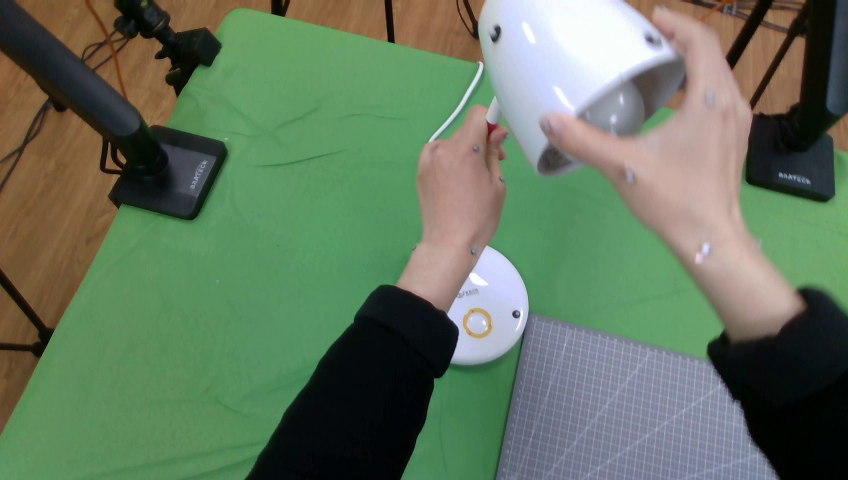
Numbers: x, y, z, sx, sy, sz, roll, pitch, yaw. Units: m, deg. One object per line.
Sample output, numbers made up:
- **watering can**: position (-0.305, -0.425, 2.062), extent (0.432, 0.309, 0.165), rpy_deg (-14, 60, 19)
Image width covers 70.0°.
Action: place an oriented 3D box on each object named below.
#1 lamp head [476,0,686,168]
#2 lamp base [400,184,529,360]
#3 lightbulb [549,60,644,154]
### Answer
- **lamp head**: position (0.087, -0.123, 0.400), extent (0.112, 0.113, 0.122), rpy_deg (-27, 64, -14)
- **lamp base**: position (0.048, 0.029, 0.687), extent (0.161, 0.181, 0.177), rpy_deg (-25, 67, -14)
- **lightbulb**: position (0.096, -0.104, 0.385), extent (0.059, 0.060, 0.107), rpy_deg (-21, 70, -12)
